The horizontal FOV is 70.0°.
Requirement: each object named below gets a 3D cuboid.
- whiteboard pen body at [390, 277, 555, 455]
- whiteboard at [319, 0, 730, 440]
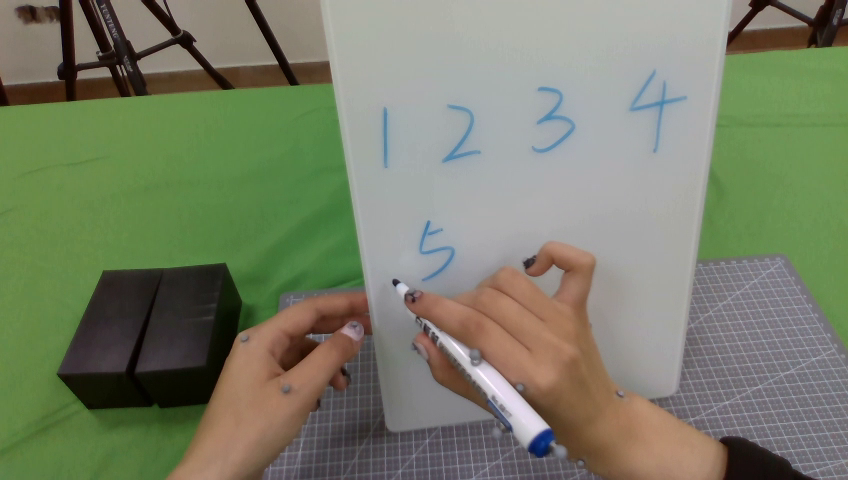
[{"bbox_3d":[0.019,0.060,0.329,0.017,0.017,0.139,-27,47,-22],"label":"whiteboard pen body"},{"bbox_3d":[0.062,-0.035,0.431,0.217,0.308,0.142,-6,27,-2],"label":"whiteboard"}]
